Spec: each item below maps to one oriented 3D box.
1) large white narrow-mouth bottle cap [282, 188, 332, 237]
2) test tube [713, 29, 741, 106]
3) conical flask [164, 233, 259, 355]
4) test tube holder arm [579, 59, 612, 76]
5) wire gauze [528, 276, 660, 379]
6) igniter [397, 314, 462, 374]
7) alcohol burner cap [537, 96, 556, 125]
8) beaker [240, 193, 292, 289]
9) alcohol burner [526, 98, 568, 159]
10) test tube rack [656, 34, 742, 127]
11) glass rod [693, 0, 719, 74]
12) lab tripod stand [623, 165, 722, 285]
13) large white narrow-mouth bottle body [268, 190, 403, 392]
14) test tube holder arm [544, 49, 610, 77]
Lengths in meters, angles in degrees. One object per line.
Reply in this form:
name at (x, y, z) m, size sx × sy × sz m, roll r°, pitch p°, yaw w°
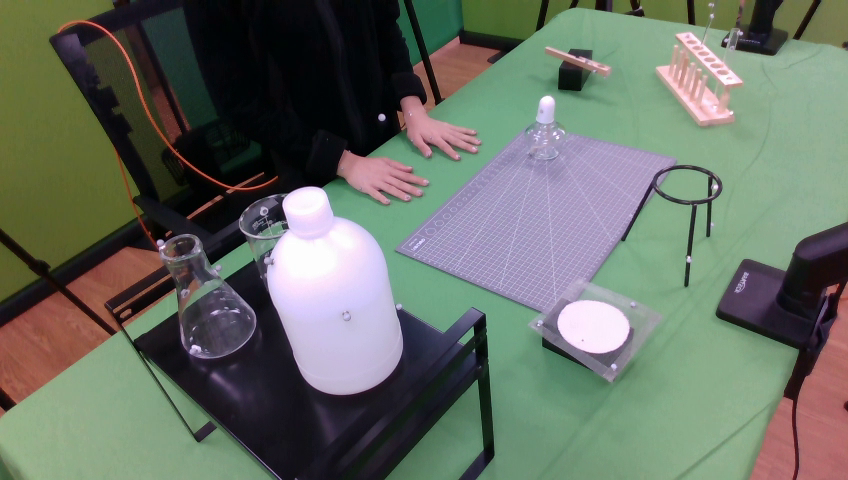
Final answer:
large white narrow-mouth bottle cap at (-0.092, -0.022, 0.479) m, size 0.038 × 0.024 × 0.037 m, roll -5°, pitch 40°, yaw 5°
test tube at (0.572, -0.324, 1.146) m, size 0.017 × 0.151 × 0.017 m, roll -3°, pitch 39°, yaw 3°
conical flask at (-0.216, 0.051, 0.601) m, size 0.075 × 0.122 × 0.075 m, roll -5°, pitch 40°, yaw 4°
test tube holder arm at (0.362, -0.368, 1.289) m, size 0.010 × 0.015 × 0.087 m, roll -26°, pitch 43°, yaw -31°
wire gauze at (0.213, 0.103, 0.763) m, size 0.124 × 0.011 × 0.122 m, roll 30°, pitch 52°, yaw 35°
igniter at (-0.059, 0.107, 0.862) m, size 0.274 × 0.025 × 0.057 m, roll 28°, pitch 62°, yaw 34°
alcohol burner cap at (0.223, -0.237, 1.095) m, size 0.034 × 0.048 × 0.033 m, roll 0°, pitch 42°, yaw 1°
beaker at (-0.144, 0.009, 0.656) m, size 0.084 × 0.101 × 0.073 m, roll -25°, pitch 43°, yaw -19°
alcohol burner at (0.228, -0.210, 1.118) m, size 0.078 × 0.119 × 0.077 m, roll -5°, pitch 43°, yaw 5°
test tube rack at (0.553, -0.331, 1.233) m, size 0.067 × 0.085 × 0.241 m, roll -7°, pitch 40°, yaw 2°
glass rod at (0.560, -0.401, 1.214) m, size 0.008 × 0.200 × 0.008 m, roll -1°, pitch 48°, yaw 2°
lab tripod stand at (0.365, -0.030, 0.875) m, size 0.148 × 0.132 × 0.147 m, roll -6°, pitch 41°, yaw 6°
large white narrow-mouth bottle body at (-0.081, 0.042, 0.534) m, size 0.102 × 0.195 × 0.101 m, roll -5°, pitch 41°, yaw 5°
test tube holder arm at (0.330, -0.386, 1.314) m, size 0.013 × 0.015 × 0.177 m, roll -25°, pitch 43°, yaw -31°
